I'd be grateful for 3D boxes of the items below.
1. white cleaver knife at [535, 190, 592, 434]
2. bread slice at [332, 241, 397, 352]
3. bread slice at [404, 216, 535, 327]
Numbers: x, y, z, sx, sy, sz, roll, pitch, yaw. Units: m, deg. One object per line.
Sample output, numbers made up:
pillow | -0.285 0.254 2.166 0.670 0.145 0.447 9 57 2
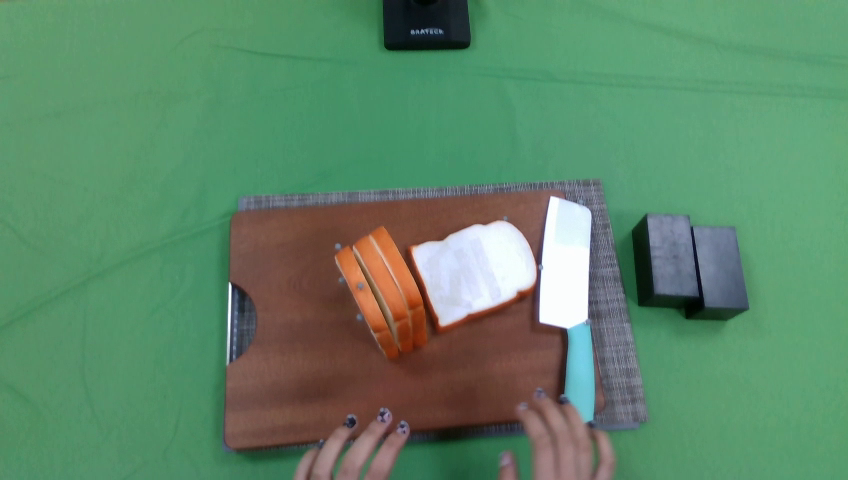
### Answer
white cleaver knife | 0.155 0.071 0.679 0.066 0.021 0.284 9 64 -3
bread slice | -0.061 0.056 0.614 0.019 0.132 0.104 -27 71 -7
bread slice | 0.057 0.030 0.683 0.134 0.018 0.106 -16 74 -5
